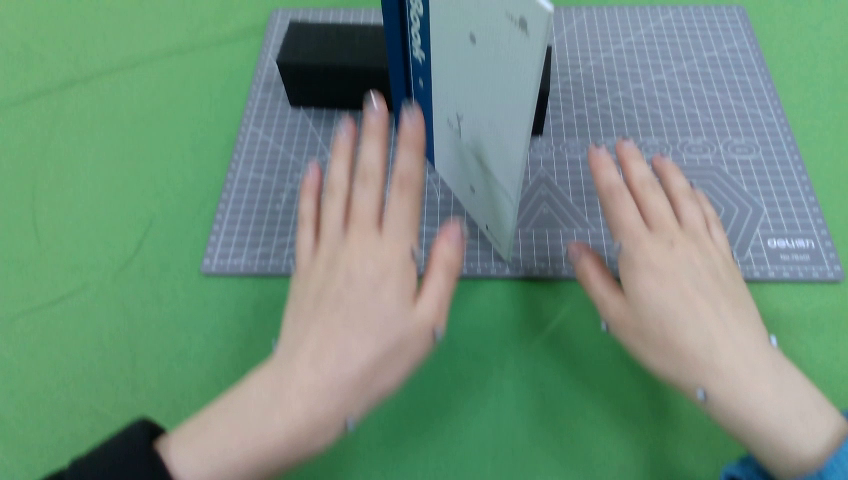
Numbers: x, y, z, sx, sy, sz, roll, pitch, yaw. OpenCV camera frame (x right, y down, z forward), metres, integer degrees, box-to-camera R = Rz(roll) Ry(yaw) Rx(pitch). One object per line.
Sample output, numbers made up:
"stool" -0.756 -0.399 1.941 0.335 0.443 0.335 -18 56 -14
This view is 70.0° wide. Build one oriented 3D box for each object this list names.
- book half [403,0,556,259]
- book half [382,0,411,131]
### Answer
"book half" 0.022 -0.093 0.373 0.007 0.212 0.142 -26 60 -15
"book half" -0.005 -0.204 0.443 0.016 0.212 0.147 10 59 8
